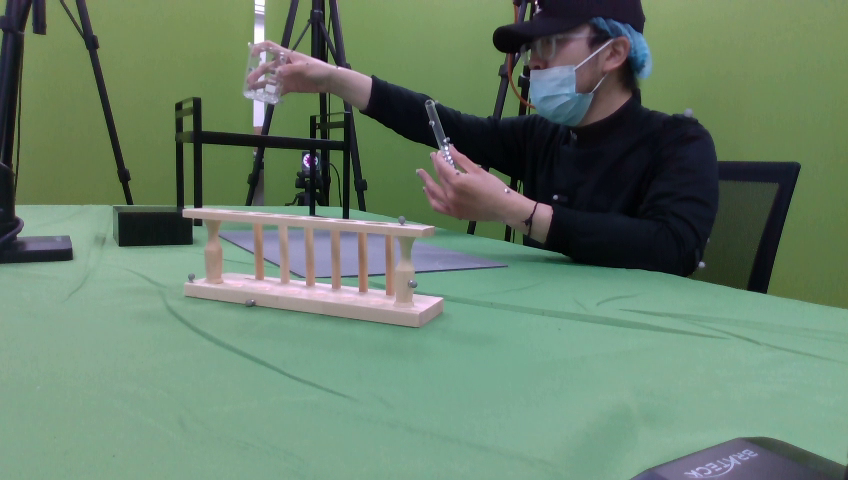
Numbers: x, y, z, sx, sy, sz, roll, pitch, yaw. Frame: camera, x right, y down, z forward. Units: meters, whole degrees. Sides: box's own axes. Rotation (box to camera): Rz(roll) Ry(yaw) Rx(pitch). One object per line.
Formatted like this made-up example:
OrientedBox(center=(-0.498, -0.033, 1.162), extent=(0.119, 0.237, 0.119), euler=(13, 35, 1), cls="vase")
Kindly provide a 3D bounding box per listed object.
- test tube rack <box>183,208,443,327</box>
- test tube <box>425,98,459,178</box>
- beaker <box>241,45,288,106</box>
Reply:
OrientedBox(center=(-0.106, 0.019, 0.570), extent=(0.241, 0.085, 0.067), euler=(5, 8, 19), cls="test tube rack")
OrientedBox(center=(0.028, -0.165, 0.972), extent=(0.017, 0.150, 0.017), euler=(-15, -22, -6), cls="test tube")
OrientedBox(center=(-0.304, -0.309, 1.138), extent=(0.073, 0.100, 0.084), euler=(19, 12, 35), cls="beaker")
